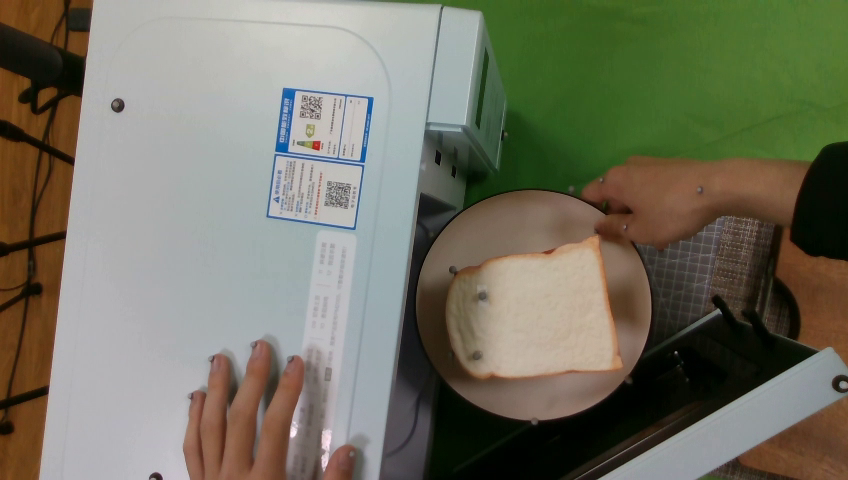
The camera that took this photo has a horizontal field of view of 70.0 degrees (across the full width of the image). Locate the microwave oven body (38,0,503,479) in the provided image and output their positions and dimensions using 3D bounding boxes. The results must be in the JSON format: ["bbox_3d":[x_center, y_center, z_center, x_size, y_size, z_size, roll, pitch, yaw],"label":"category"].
[{"bbox_3d":[-0.122,0.039,0.556,0.325,0.261,0.441,7,92,11],"label":"microwave oven body"}]

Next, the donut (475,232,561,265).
[{"bbox_3d":[0.089,0.039,0.532,0.099,0.048,0.099,1,112,3],"label":"donut"}]

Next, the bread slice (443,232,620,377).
[{"bbox_3d":[0.083,0.060,0.491,0.134,0.018,0.107,-13,91,12],"label":"bread slice"}]

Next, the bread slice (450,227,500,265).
[{"bbox_3d":[0.063,0.037,0.575,0.132,0.019,0.105,7,103,-4],"label":"bread slice"}]

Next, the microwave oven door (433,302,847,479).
[{"bbox_3d":[0.129,0.172,0.500,0.356,0.244,0.039,-35,82,9],"label":"microwave oven door"}]

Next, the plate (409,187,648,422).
[{"bbox_3d":[0.091,0.057,0.547,0.207,0.039,0.207,0,92,6],"label":"plate"}]

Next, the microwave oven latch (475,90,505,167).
[{"bbox_3d":[0.065,-0.116,0.616,0.030,0.029,0.079,7,92,11],"label":"microwave oven latch"}]
